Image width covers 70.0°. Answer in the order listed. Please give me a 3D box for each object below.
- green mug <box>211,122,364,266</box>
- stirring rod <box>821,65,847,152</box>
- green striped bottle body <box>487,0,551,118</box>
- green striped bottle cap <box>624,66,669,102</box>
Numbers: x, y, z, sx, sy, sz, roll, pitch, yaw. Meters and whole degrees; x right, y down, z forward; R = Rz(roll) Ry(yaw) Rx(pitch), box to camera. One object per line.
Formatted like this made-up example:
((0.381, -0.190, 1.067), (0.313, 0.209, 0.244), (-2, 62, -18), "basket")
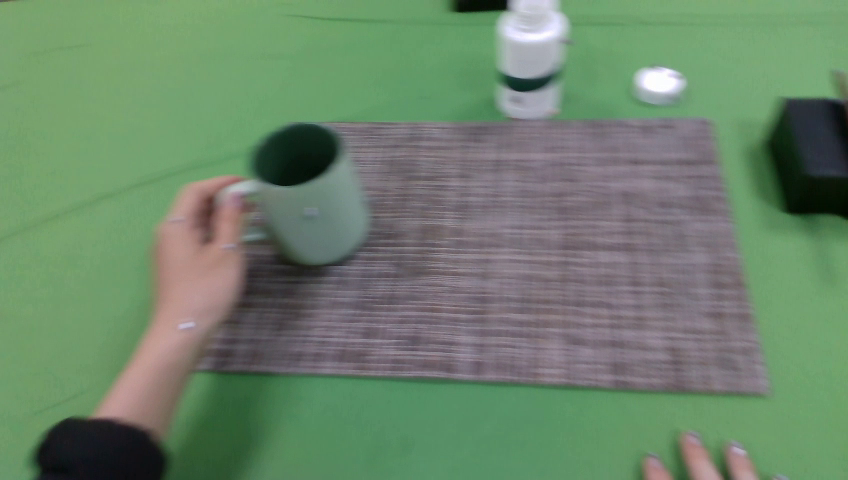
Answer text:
((-0.120, -0.032, 0.529), (0.125, 0.106, 0.091), (-21, 53, -8), "green mug")
((0.357, -0.089, 0.508), (0.006, 0.014, 0.174), (1, 52, 14), "stirring rod")
((0.096, -0.189, 0.618), (0.063, 0.120, 0.062), (-4, 52, 5), "green striped bottle body")
((0.238, -0.166, 0.647), (0.044, 0.020, 0.044), (-3, 48, 3), "green striped bottle cap")
